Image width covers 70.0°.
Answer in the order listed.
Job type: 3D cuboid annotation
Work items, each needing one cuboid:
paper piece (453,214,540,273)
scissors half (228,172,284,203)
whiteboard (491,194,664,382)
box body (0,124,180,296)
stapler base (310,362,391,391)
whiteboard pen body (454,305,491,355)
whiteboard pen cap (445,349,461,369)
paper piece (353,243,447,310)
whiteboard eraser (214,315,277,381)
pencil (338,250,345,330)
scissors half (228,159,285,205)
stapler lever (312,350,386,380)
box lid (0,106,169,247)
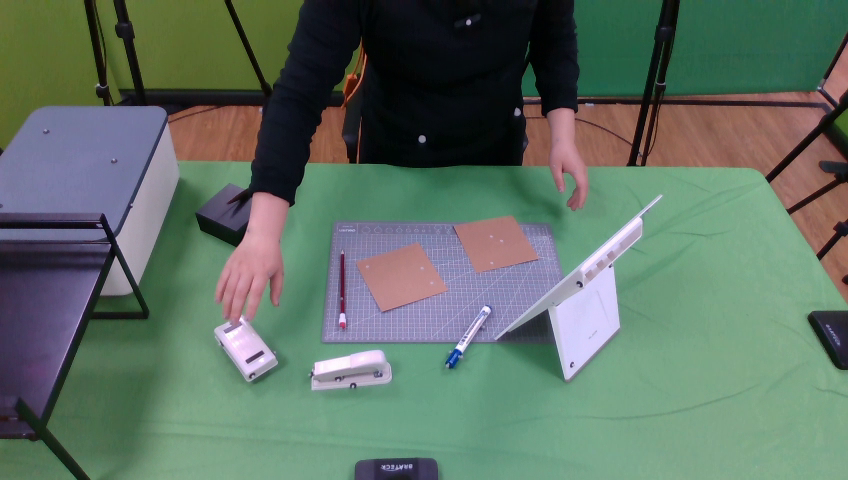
[{"bbox_3d":[0.142,0.003,1.213,0.135,0.004,0.135,-11,47,-14],"label":"paper piece"},{"bbox_3d":[-0.339,-0.101,1.229,0.013,0.040,0.175,22,28,15],"label":"scissors half"},{"bbox_3d":[0.280,0.100,0.969,0.217,0.306,0.143,-33,77,-31],"label":"whiteboard"},{"bbox_3d":[-0.628,-0.075,1.122,0.254,0.161,0.361,1,46,-4],"label":"box body"},{"bbox_3d":[-0.119,0.215,0.980,0.131,0.024,0.041,-5,44,-7],"label":"stapler base"},{"bbox_3d":[0.079,0.163,1.047,0.017,0.017,0.140,26,50,19],"label":"whiteboard pen body"},{"bbox_3d":[0.049,0.197,1.011,0.018,0.018,0.033,23,49,17],"label":"whiteboard pen cap"},{"bbox_3d":[-0.045,0.066,1.137,0.136,0.009,0.137,-13,47,-23],"label":"paper piece"},{"bbox_3d":[-0.292,0.176,0.990,0.055,0.042,0.112,-30,55,-30],"label":"whiteboard eraser"},{"bbox_3d":[-0.149,0.085,1.108,0.012,0.012,0.192,-1,44,-5],"label":"pencil"},{"bbox_3d":[-0.335,-0.116,1.217,0.013,0.040,0.175,27,46,12],"label":"scissors half"},{"bbox_3d":[-0.120,0.198,0.963,0.118,0.040,0.026,-4,44,-8],"label":"stapler lever"},{"bbox_3d":[-0.624,-0.125,1.067,0.263,0.015,0.369,0,46,-4],"label":"box lid"}]
